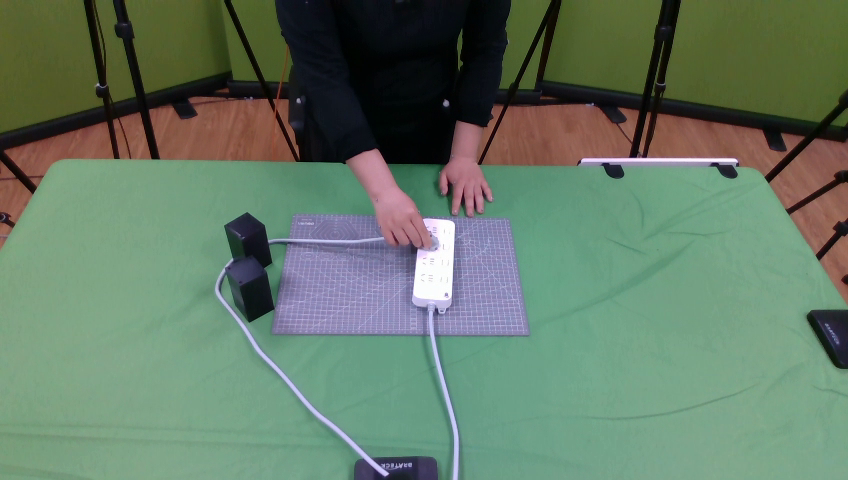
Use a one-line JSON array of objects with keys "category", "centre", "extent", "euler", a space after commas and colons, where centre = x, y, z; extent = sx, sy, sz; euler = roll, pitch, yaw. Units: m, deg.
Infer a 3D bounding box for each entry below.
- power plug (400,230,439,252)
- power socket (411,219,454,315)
[{"category": "power plug", "centre": [-0.007, 0.002, 1.158], "extent": [0.072, 0.053, 0.035], "euler": [13, 47, 10]}, {"category": "power socket", "centre": [0.018, 0.042, 1.147], "extent": [0.072, 0.033, 0.225], "euler": [5, 46, 1]}]
